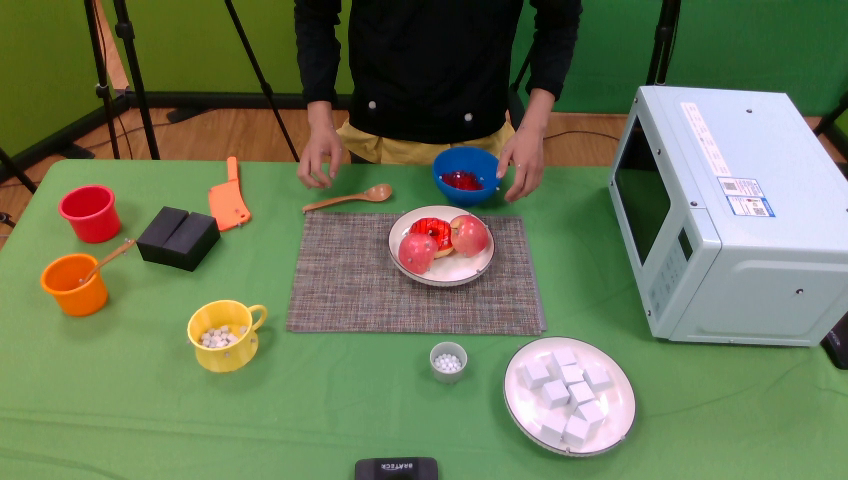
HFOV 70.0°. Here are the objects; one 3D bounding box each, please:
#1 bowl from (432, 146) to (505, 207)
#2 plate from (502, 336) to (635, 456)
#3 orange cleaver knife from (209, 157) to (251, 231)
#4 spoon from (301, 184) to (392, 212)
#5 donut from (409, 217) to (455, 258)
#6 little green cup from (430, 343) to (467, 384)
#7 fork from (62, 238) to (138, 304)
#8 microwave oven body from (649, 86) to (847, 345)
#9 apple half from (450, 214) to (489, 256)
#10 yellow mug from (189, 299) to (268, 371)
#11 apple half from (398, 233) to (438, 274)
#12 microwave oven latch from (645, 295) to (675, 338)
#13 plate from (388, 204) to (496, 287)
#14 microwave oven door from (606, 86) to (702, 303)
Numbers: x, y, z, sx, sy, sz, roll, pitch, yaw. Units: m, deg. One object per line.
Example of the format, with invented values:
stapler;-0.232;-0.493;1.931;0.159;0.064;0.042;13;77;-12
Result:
bowl;0.091;-0.124;1.286;0.151;0.077;0.150;2;46;-2
plate;0.225;0.248;0.964;0.208;0.039;0.206;2;46;-2
orange cleaver knife;-0.409;-0.099;1.266;0.077;0.012;0.210;-14;50;-10
spoon;-0.162;-0.086;1.269;0.194;0.022;0.041;-11;62;-15
donut;0.019;-0.006;1.174;0.099;0.048;0.098;2;44;-2
little green cup;0.039;0.203;0.994;0.061;0.039;0.061;2;46;-2
fork;-0.547;0.053;1.018;0.207;0.019;0.028;-36;41;23
microwave oven body;0.568;-0.053;1.118;0.326;0.261;0.439;2;45;-1
apple half;0.092;-0.013;1.158;0.075;0.053;0.080;35;39;-28
yellow mug;-0.316;0.148;1.002;0.131;0.064;0.099;-33;56;-31
apple half;-0.016;0.022;1.123;0.081;0.033;0.081;-2;83;14
microwave oven latch;0.412;0.134;1.061;0.030;0.029;0.078;3;45;0
plate;0.033;0.014;1.171;0.209;0.038;0.208;2;46;-2
microwave oven door;0.423;-0.094;1.141;0.039;0.245;0.353;2;46;-1
